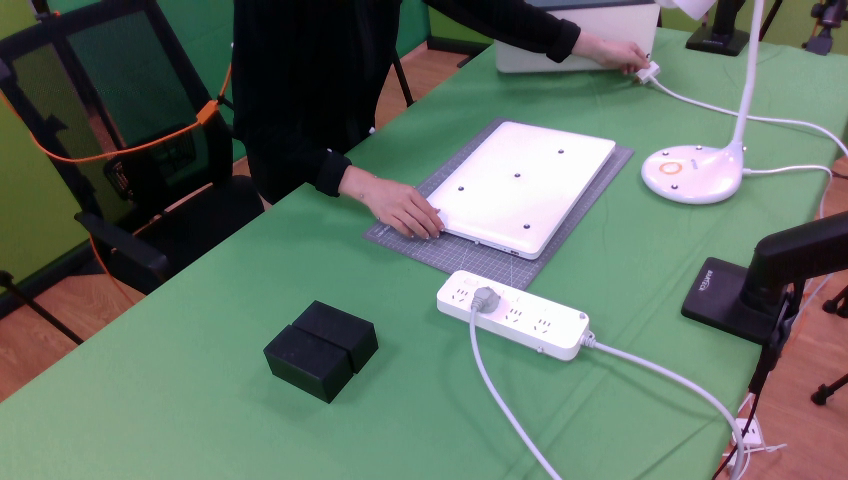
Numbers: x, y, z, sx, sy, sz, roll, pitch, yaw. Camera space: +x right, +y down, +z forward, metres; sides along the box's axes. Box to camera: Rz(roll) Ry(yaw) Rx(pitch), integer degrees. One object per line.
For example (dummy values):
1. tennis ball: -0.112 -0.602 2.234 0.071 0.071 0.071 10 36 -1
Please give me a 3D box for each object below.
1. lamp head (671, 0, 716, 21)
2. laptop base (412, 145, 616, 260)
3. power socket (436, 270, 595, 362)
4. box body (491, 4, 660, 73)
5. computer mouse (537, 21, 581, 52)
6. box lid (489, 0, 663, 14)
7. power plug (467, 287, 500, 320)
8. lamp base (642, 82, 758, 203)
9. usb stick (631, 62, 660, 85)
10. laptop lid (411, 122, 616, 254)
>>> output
1. lamp head: 0.375 -0.373 0.807 0.122 0.113 0.112 -40 27 32
2. laptop base: 0.168 -0.101 1.072 0.234 0.023 0.355 17 45 30
3. power socket: 0.118 0.101 0.832 0.225 0.033 0.072 19 48 27
4. box body: 0.346 -0.520 1.429 0.363 0.161 0.253 0 41 9
5. computer mouse: 0.335 -0.503 1.487 0.118 0.041 0.062 22 19 -28
6. box lid: 0.340 -0.575 1.380 0.371 0.015 0.262 0 41 9
7. power plug: 0.073 0.092 0.814 0.035 0.053 0.073 29 54 34
8. lamp base: 0.464 -0.174 0.992 0.179 0.181 0.159 -5 41 -2
9. usb stick: 0.480 -0.358 1.317 0.059 0.022 0.027 -35 57 13
10. laptop lid: 0.165 -0.110 1.066 0.240 0.013 0.357 19 46 30
